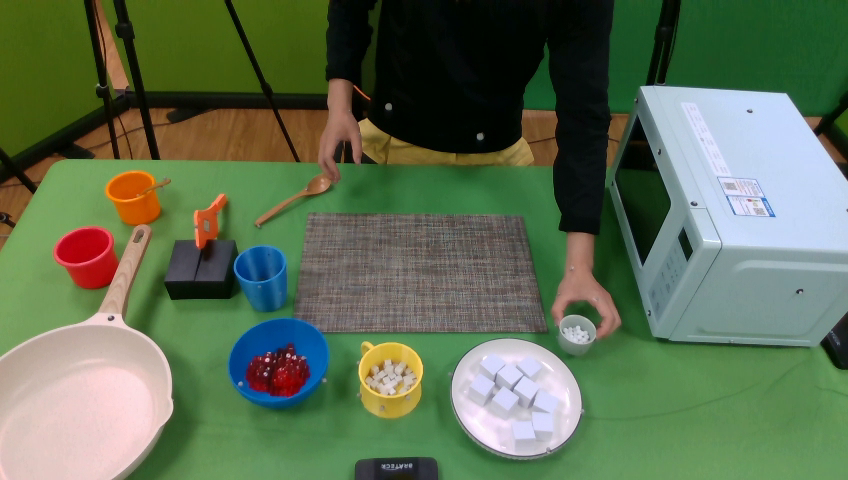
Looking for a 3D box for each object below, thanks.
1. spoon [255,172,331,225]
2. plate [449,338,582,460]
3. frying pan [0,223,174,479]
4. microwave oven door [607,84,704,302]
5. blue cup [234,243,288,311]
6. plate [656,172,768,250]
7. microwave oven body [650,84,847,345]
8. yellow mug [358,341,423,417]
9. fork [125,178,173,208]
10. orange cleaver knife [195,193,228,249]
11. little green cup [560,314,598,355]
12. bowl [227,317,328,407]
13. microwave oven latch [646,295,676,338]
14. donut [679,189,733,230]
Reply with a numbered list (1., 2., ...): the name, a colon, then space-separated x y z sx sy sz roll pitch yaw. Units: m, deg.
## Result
1. spoon: -0.272 -0.087 1.257 0.041 0.022 0.193 43 57 17
2. plate: 0.141 0.251 0.955 0.208 0.039 0.206 2 46 -2
3. frying pan: -0.504 0.169 0.941 0.307 0.103 0.485 5 54 -1
4. microwave oven door: 0.424 -0.096 1.138 0.039 0.245 0.353 2 46 -1
5. blue cup: -0.276 0.072 1.052 0.093 0.101 0.092 1 48 -1
6. plate: 0.557 -0.054 1.186 0.209 0.038 0.208 1 45 -1
7. microwave oven body: 0.569 -0.054 1.116 0.326 0.261 0.439 2 46 -1
8. yellow mug: -0.063 0.209 0.960 0.100 0.064 0.130 -29 54 -28
9. fork: -0.525 -0.090 1.154 0.207 0.019 0.028 -17 27 45
10. orange cleaver knife: -0.406 -0.041 1.163 0.012 0.077 0.210 0 18 -3
11. little green cup: 0.256 0.160 1.014 0.061 0.039 0.061 2 43 -1
12. bowl: -0.222 0.203 0.947 0.151 0.077 0.150 2 46 -2
13. microwave oven latch: 0.412 0.133 1.060 0.030 0.029 0.078 3 46 0
14. donut: 0.545 -0.061 1.176 0.099 0.048 0.098 0 45 0
